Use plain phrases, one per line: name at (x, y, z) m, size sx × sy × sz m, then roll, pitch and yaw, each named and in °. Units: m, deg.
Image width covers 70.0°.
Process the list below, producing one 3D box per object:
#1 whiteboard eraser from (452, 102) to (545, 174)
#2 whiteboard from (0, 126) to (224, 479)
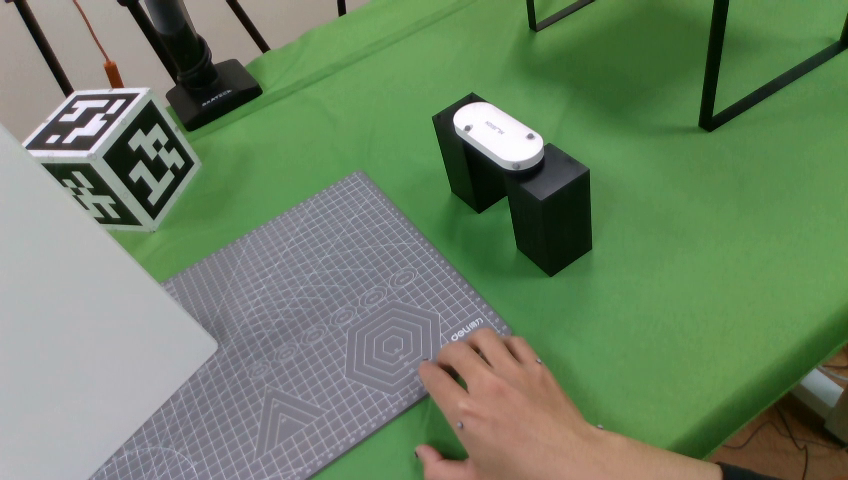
whiteboard eraser at (0.062, -0.091, 0.527) m, size 0.041 × 0.019 × 0.100 m, roll -32°, pitch 49°, yaw -15°
whiteboard at (-0.368, 0.059, 0.506) m, size 0.143 × 0.308 × 0.216 m, roll 10°, pitch 51°, yaw 50°
